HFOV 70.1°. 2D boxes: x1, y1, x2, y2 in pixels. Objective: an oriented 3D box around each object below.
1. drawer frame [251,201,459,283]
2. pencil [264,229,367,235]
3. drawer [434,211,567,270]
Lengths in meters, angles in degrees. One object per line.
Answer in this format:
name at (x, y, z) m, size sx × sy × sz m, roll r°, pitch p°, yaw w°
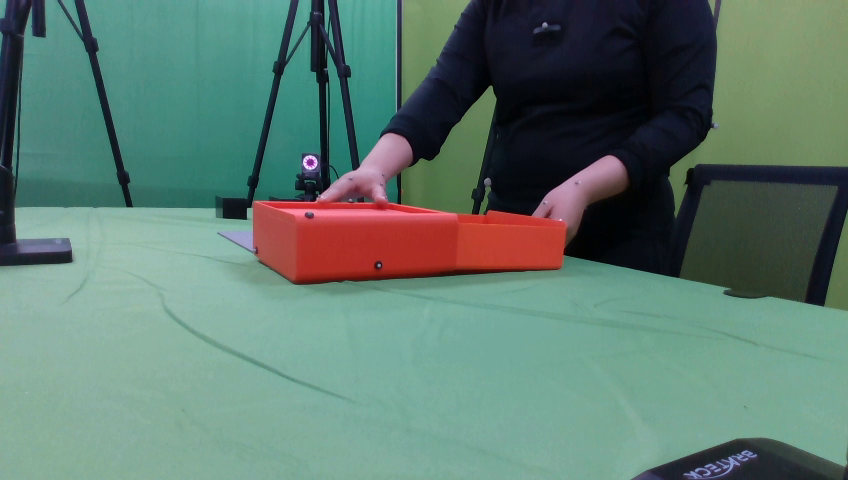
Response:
drawer frame at (-0.094, -0.005, 0.788) m, size 0.215 × 0.082 × 0.200 m, roll -2°, pitch 9°, yaw -30°
pencil at (-0.195, -0.013, 1.109) m, size 0.195 × 0.012 × 0.012 m, roll 1°, pitch 7°, yaw -28°
drawer at (0.063, -0.004, 0.877) m, size 0.213 × 0.073 × 0.193 m, roll 0°, pitch 8°, yaw -30°
